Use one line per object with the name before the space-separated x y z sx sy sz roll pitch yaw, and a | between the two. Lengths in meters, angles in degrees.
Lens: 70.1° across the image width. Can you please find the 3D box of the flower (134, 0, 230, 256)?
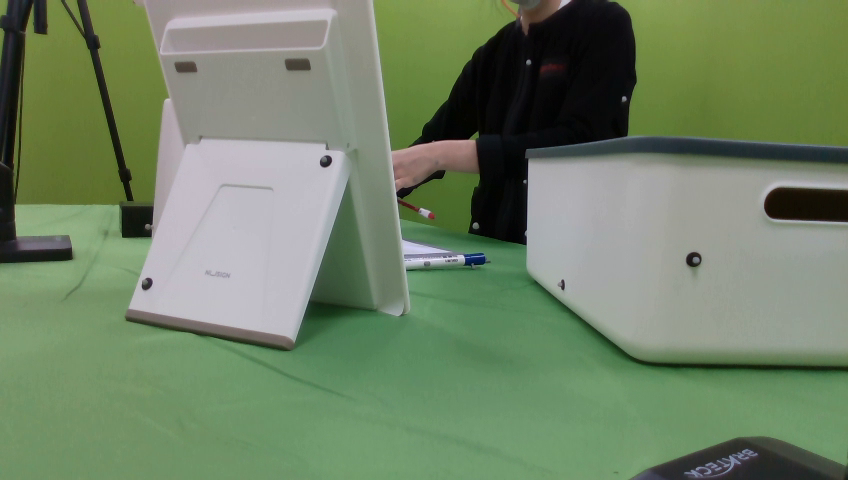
flower | -0.282 -0.147 0.713 0.038 0.362 0.044 -23 24 -31

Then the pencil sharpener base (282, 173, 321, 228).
pencil sharpener base | -0.247 -0.080 1.212 0.061 0.107 0.076 -2 5 -28

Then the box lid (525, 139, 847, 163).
box lid | 0.261 -0.078 0.580 0.264 0.015 0.371 2 7 -4

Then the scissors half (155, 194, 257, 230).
scissors half | -0.378 -0.051 1.058 0.176 0.040 0.012 20 22 -31

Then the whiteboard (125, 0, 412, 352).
whiteboard | -0.151 -0.049 0.472 0.216 0.305 0.144 6 27 24

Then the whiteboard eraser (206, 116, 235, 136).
whiteboard eraser | -0.450 -0.252 1.335 0.056 0.042 0.112 1 7 -22

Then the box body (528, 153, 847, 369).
box body | 0.258 -0.005 0.591 0.254 0.160 0.363 2 7 -4

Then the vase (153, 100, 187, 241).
vase | -0.278 -0.066 0.736 0.098 0.200 0.098 2 9 0

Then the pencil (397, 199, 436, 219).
pencil | -0.063 -0.075 1.051 0.193 0.012 0.012 24 16 23

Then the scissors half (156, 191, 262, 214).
scissors half | -0.371 -0.069 1.051 0.176 0.040 0.013 2 25 -24

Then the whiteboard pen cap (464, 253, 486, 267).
whiteboard pen cap | 0.066 0.027 0.818 0.033 0.018 0.018 -6 10 -24

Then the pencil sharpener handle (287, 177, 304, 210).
pencil sharpener handle | -0.269 -0.096 1.257 0.036 0.067 0.030 -8 8 -27

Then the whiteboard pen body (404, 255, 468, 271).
whiteboard pen body | 0.013 0.030 0.792 0.141 0.017 0.017 -3 9 -24
